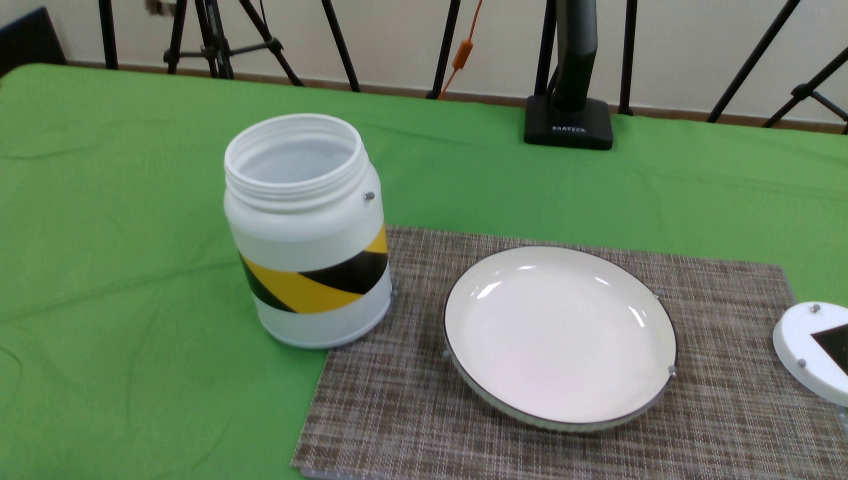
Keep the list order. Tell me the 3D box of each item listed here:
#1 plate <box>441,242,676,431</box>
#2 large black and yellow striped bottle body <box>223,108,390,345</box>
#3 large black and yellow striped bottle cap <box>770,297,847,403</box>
[{"bbox_3d":[0.118,0.085,0.553,0.208,0.039,0.205,1,42,-1],"label":"plate"},{"bbox_3d":[-0.101,-0.010,0.541,0.131,0.185,0.129,-1,42,1],"label":"large black and yellow striped bottle body"},{"bbox_3d":[0.384,0.100,0.562,0.115,0.019,0.114,4,44,-3],"label":"large black and yellow striped bottle cap"}]
